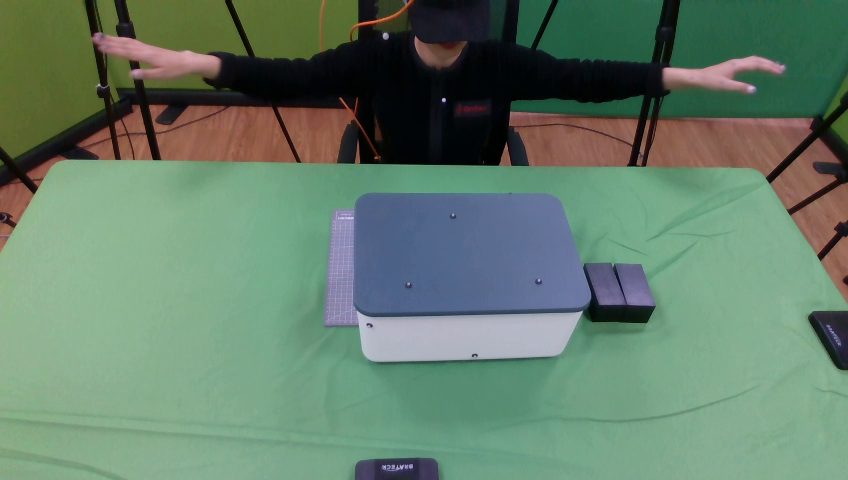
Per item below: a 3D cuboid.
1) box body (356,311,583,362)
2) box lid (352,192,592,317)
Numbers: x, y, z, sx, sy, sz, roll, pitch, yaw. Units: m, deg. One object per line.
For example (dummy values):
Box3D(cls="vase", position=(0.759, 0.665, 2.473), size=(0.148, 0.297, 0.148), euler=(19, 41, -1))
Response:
Box3D(cls="box body", position=(0.065, 0.066, 1.040), size=(0.364, 0.161, 0.252), euler=(-1, 46, -5))
Box3D(cls="box lid", position=(0.071, 0.014, 0.986), size=(0.372, 0.015, 0.261), euler=(-1, 47, -5))
